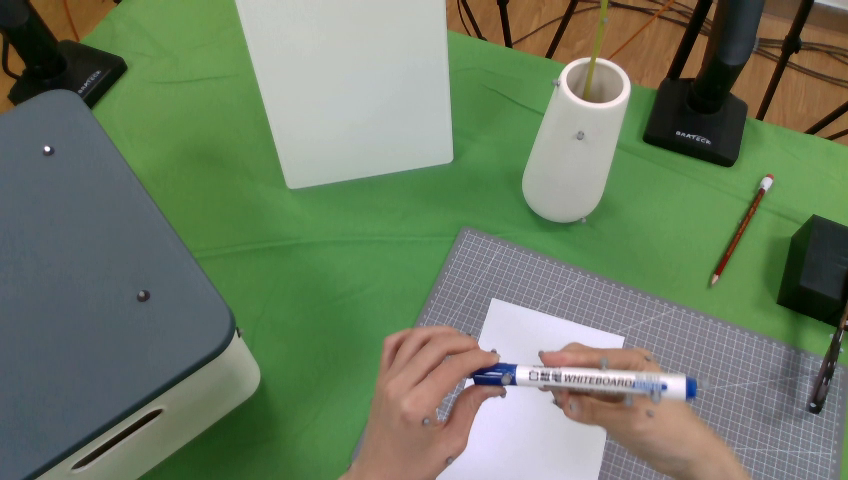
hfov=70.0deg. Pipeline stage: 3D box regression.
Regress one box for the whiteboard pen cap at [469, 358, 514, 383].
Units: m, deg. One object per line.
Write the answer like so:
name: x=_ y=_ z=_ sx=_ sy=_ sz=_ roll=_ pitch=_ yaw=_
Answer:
whiteboard pen cap: x=0.050 y=0.093 z=0.429 sx=0.033 sy=0.018 sz=0.018 roll=-2 pitch=58 yaw=22

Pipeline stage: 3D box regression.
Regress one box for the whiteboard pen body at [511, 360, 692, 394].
whiteboard pen body: x=0.104 y=0.091 z=0.406 sx=0.140 sy=0.017 sz=0.017 roll=-1 pitch=58 yaw=23

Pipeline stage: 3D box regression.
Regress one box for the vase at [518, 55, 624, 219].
vase: x=0.163 y=-0.109 z=0.678 sx=0.098 sy=0.201 sz=0.097 roll=0 pitch=59 yaw=1

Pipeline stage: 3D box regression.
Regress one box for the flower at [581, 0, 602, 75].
flower: x=0.161 y=-0.164 z=0.614 sx=0.044 sy=0.365 sz=0.038 roll=15 pitch=44 yaw=12

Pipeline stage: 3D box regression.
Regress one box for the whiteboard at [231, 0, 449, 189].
whiteboard: x=-0.096 y=-0.242 z=0.726 sx=0.217 sy=0.308 sz=0.142 roll=-10 pitch=42 yaw=-5

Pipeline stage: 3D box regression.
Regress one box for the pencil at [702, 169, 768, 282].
pencil: x=0.379 y=-0.020 z=0.738 sx=0.012 sy=0.012 sz=0.193 roll=32 pitch=66 yaw=17

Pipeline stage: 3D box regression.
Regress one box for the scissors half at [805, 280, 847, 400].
scissors half: x=0.420 y=0.085 z=0.618 sx=0.012 sy=0.040 sz=0.174 roll=19 pitch=63 yaw=31

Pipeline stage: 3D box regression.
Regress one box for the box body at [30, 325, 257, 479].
box body: x=-0.365 y=0.061 z=0.599 sx=0.254 sy=0.161 sz=0.361 roll=-36 pitch=67 yaw=-18

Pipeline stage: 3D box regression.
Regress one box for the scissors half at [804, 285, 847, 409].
scissors half: x=0.429 y=0.094 z=0.634 sx=0.012 sy=0.040 sz=0.175 roll=18 pitch=80 yaw=36

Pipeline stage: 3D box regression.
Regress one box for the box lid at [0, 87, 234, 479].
box lid: x=-0.366 y=0.023 z=0.535 sx=0.263 sy=0.015 sz=0.368 roll=-35 pitch=67 yaw=-19
